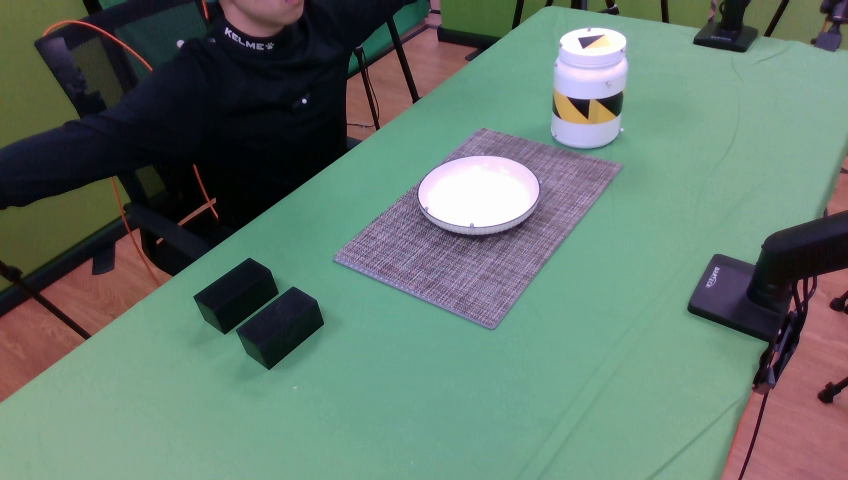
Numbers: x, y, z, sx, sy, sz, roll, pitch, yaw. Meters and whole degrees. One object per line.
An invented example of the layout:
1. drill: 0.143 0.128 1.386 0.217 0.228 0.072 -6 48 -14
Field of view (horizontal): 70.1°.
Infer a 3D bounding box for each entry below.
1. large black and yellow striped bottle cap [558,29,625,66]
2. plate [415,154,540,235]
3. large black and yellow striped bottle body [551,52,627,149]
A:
1. large black and yellow striped bottle cap: 0.297 -0.342 1.071 0.115 0.019 0.114 -3 42 4
2. plate: 0.090 -0.074 1.025 0.207 0.039 0.206 -4 41 4
3. large black and yellow striped bottle body: 0.305 -0.278 1.125 0.131 0.185 0.130 -4 41 4
